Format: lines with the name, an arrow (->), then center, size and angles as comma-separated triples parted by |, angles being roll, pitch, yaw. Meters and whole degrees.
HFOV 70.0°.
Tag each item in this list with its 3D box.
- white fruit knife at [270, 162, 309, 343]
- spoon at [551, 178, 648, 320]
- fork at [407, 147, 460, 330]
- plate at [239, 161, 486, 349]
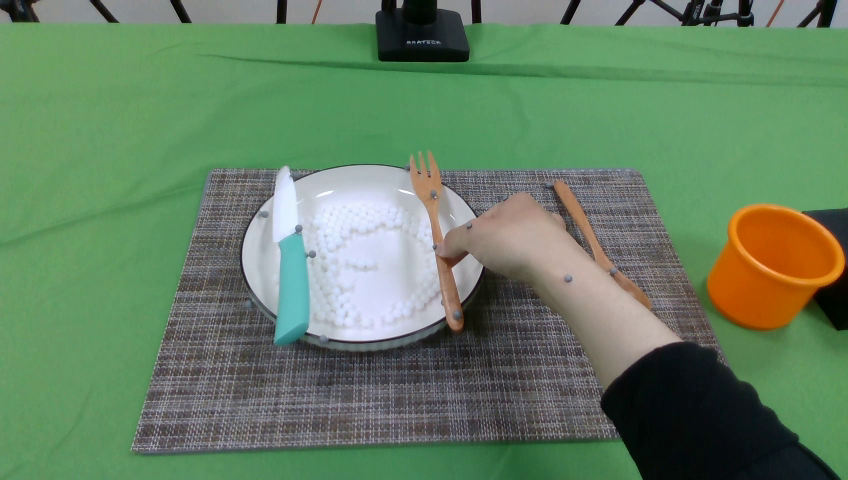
white fruit knife -> -0.113, -0.002, 0.502 | 0.027, 0.016, 0.205 | -8, 47, -8
spoon -> 0.154, 0.000, 0.562 | 0.041, 0.022, 0.191 | -17, 48, 4
fork -> 0.008, -0.010, 0.519 | 0.028, 0.019, 0.205 | -8, 46, -3
plate -> -0.050, 0.010, 0.526 | 0.209, 0.038, 0.207 | 2, 47, -2
